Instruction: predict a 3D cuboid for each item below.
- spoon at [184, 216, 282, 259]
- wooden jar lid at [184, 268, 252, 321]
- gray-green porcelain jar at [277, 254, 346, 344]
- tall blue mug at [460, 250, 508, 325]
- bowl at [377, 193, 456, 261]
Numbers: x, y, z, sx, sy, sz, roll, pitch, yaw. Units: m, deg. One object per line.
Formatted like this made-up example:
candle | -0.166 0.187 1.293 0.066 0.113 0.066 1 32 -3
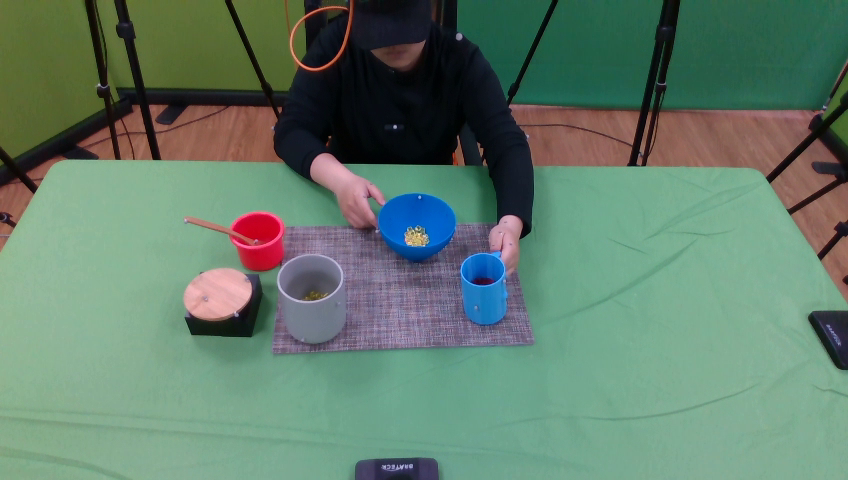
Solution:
spoon | -0.341 -0.008 1.096 0.021 0.195 0.041 -36 47 26
wooden jar lid | -0.343 0.093 1.015 0.108 0.021 0.107 3 46 -3
gray-green porcelain jar | -0.184 0.102 1.008 0.106 0.127 0.105 2 46 -2
tall blue mug | 0.105 0.074 1.062 0.078 0.108 0.106 -4 46 6
bowl | -0.015 -0.013 1.166 0.151 0.077 0.150 2 46 -2
